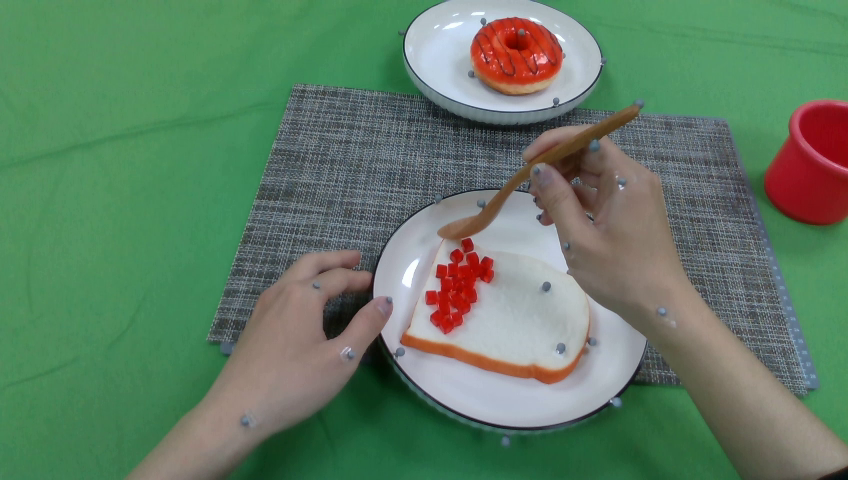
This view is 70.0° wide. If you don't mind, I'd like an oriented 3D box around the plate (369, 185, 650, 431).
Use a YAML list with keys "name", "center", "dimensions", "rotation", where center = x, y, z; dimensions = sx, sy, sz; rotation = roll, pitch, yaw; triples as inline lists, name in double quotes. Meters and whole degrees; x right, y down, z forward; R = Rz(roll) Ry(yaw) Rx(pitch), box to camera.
- name: "plate"
  center: [0.063, 0.046, 0.462]
  dimensions: [0.209, 0.038, 0.207]
  rotation: [1, 54, -2]

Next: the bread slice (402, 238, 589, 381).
- name: "bread slice"
  center: [0.060, 0.050, 0.463]
  dimensions: [0.131, 0.019, 0.104]
  rotation: [14, 54, 10]

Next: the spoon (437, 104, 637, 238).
- name: "spoon"
  center: [0.066, -0.040, 0.410]
  dimensions: [0.041, 0.194, 0.021]
  rotation: [-31, 84, -37]

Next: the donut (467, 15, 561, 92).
- name: "donut"
  center: [0.093, -0.193, 0.629]
  dimensions: [0.099, 0.048, 0.098]
  rotation: [2, 54, -3]

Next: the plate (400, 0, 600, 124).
- name: "plate"
  center: [0.078, -0.188, 0.639]
  dimensions: [0.208, 0.039, 0.205]
  rotation: [2, 52, -2]
